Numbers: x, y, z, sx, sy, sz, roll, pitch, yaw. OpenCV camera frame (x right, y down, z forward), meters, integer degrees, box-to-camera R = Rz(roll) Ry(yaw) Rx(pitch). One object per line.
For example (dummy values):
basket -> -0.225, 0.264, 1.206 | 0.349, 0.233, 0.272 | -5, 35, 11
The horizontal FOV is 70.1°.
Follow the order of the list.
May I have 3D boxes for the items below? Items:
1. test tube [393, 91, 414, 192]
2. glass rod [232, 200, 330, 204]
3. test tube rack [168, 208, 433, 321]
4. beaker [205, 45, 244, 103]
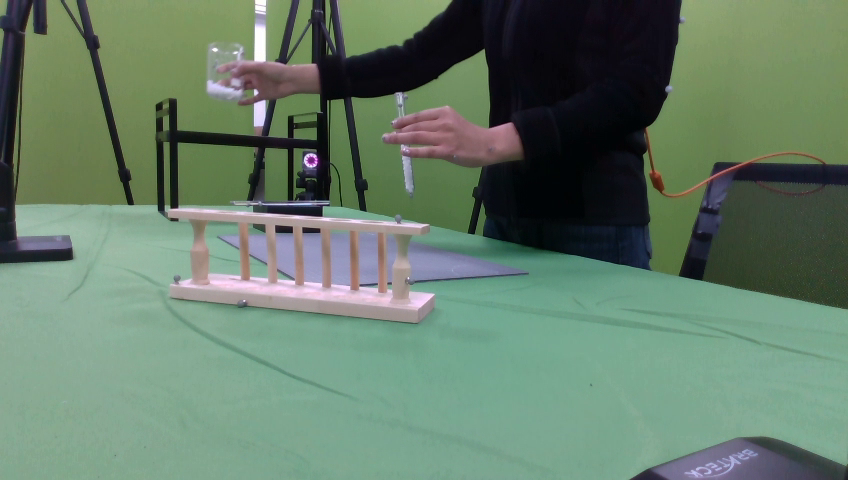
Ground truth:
test tube -> -0.031, -0.146, 0.899 | 0.017, 0.150, 0.017 | -7, 0, 0
glass rod -> -0.265, -0.072, 1.145 | 0.201, 0.008, 0.008 | -4, 10, -40
test tube rack -> -0.115, 0.017, 0.574 | 0.242, 0.085, 0.067 | 4, 8, 13
beaker -> -0.400, -0.329, 1.205 | 0.074, 0.100, 0.084 | 3, 4, 25
